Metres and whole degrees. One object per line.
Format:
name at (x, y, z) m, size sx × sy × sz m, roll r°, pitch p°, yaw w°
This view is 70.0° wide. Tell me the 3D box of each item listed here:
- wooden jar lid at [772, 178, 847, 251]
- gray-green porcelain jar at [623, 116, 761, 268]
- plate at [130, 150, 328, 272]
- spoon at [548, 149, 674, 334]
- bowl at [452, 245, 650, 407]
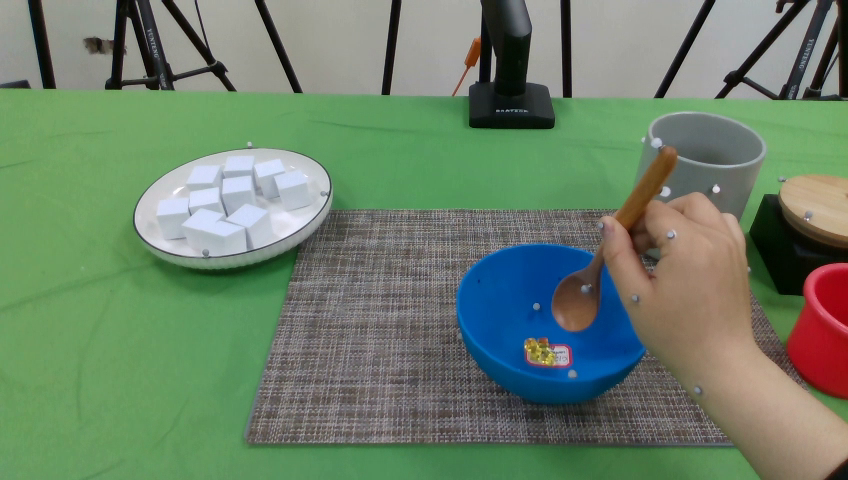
wooden jar lid at (0.398, -0.025, 0.593) m, size 0.108 × 0.021 × 0.107 m, roll -1°, pitch 39°, yaw 1°
gray-green porcelain jar at (0.259, -0.044, 0.605) m, size 0.106 × 0.127 × 0.105 m, roll 0°, pitch 39°, yaw 1°
plate at (-0.208, -0.031, 0.664) m, size 0.209 × 0.038 × 0.207 m, roll -1°, pitch 39°, yaw 1°
spoon at (0.124, 0.010, 0.417) m, size 0.022 × 0.195 × 0.041 m, roll -22°, pitch 61°, yaw -20°
bowl at (0.097, 0.081, 0.490) m, size 0.151 × 0.077 × 0.150 m, roll 0°, pitch 39°, yaw 0°
